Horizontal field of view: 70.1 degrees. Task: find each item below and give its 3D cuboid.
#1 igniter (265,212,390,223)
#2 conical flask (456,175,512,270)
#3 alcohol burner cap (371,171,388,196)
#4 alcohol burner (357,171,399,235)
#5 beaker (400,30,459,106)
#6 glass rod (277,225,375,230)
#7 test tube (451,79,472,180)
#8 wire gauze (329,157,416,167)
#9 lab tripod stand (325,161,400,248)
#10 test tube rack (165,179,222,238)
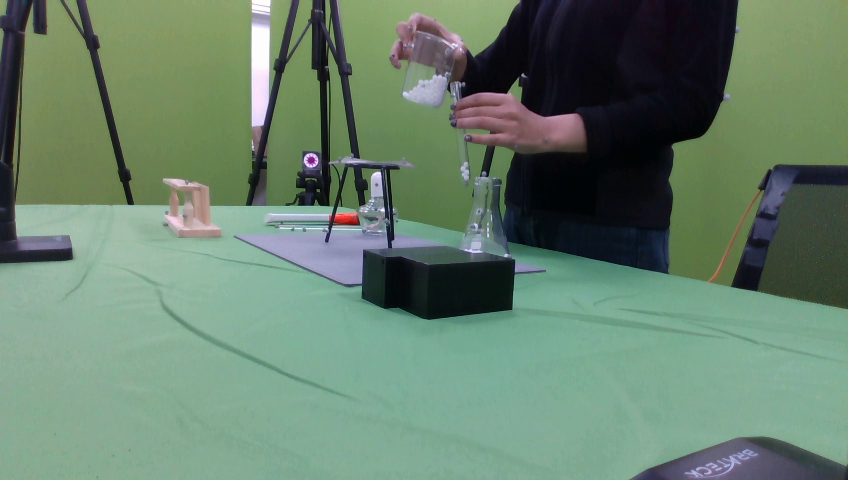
[{"bbox_3d":[-0.196,-0.048,1.286,0.278,0.025,0.057,-2,-2,-30],"label":"igniter"},{"bbox_3d":[0.082,-0.025,0.801,0.075,0.122,0.075,2,7,0],"label":"conical flask"},{"bbox_3d":[-0.085,-0.104,1.120,0.034,0.048,0.034,-5,8,1],"label":"alcohol burner cap"},{"bbox_3d":[-0.085,-0.069,1.125,0.078,0.119,0.078,3,10,0],"label":"alcohol burner"},{"bbox_3d":[0.008,-0.259,0.921,0.074,0.100,0.083,-2,22,-43],"label":"beaker"},{"bbox_3d":[-0.187,-0.024,1.178,0.201,0.008,0.008,1,6,-31],"label":"glass rod"},{"bbox_3d":[0.056,-0.165,0.906,0.017,0.150,0.017,-7,1,0],"label":"test tube"},{"bbox_3d":[-0.079,-0.126,0.972,0.121,0.011,0.125,4,8,5],"label":"wire gauze"},{"bbox_3d":[-0.083,-0.060,0.977,0.148,0.131,0.148,4,8,0],"label":"lab tripod stand"},{"bbox_3d":[-0.423,-0.062,1.098,0.067,0.085,0.241,-2,9,-28],"label":"test tube rack"}]
